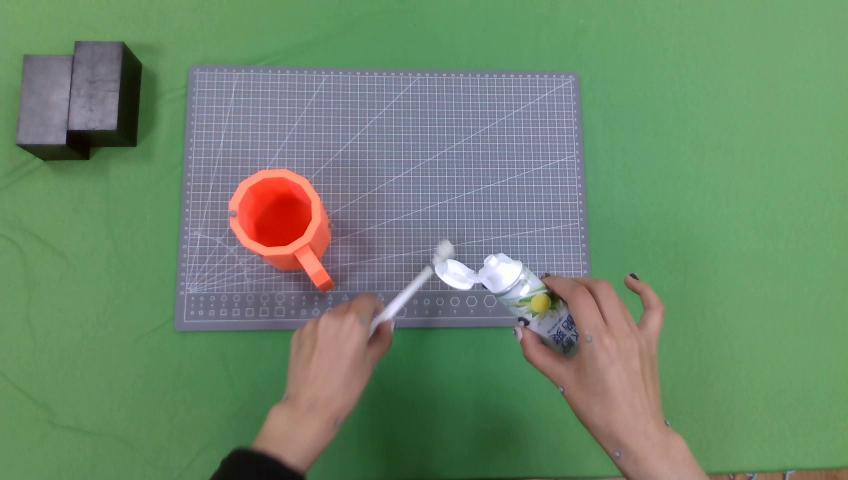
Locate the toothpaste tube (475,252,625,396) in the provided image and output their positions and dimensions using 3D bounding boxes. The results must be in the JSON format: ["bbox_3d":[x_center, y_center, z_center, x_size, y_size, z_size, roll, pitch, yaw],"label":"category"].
[{"bbox_3d":[0.104,0.068,0.513,0.166,0.034,0.055,42,92,-18],"label":"toothpaste tube"}]

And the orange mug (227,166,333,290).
[{"bbox_3d":[-0.136,-0.006,0.616,0.083,0.101,0.125,-34,79,-9],"label":"orange mug"}]

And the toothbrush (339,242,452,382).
[{"bbox_3d":[-0.026,0.069,0.612,0.014,0.016,0.181,41,68,-5],"label":"toothbrush"}]

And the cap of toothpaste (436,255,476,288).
[{"bbox_3d":[0.027,0.024,0.493,0.037,0.037,0.011,29,119,2],"label":"cap of toothpaste"}]
